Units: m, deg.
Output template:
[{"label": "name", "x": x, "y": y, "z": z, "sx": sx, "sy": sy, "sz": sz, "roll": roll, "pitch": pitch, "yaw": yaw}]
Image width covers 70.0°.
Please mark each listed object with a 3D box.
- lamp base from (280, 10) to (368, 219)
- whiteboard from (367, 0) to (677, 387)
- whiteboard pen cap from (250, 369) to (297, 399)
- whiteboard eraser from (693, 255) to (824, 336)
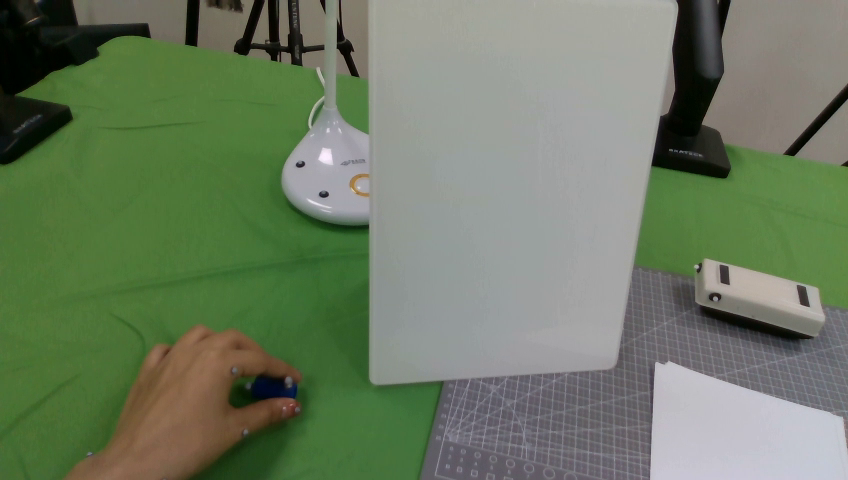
[{"label": "lamp base", "x": -0.084, "y": -0.141, "z": 0.655, "sx": 0.161, "sy": 0.182, "sz": 0.177, "roll": -22, "pitch": 46, "yaw": -29}, {"label": "whiteboard", "x": 0.057, "y": -0.050, "z": 0.518, "sx": 0.218, "sy": 0.307, "sz": 0.142, "roll": -2, "pitch": 22, "yaw": -9}, {"label": "whiteboard pen cap", "x": -0.116, "y": 0.112, "z": 0.468, "sx": 0.033, "sy": 0.018, "sz": 0.018, "roll": 16, "pitch": 41, "yaw": 0}, {"label": "whiteboard eraser", "x": 0.321, "y": 0.055, "z": 0.589, "sx": 0.112, "sy": 0.042, "sz": 0.055, "roll": 16, "pitch": 42, "yaw": 11}]
